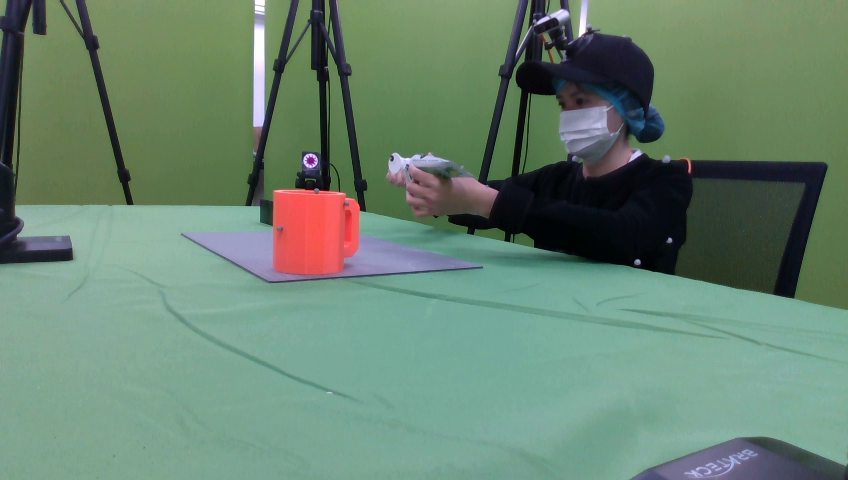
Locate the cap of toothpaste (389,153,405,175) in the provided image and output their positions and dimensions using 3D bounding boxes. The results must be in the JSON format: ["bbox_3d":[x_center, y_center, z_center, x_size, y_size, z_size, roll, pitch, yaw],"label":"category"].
[{"bbox_3d":[-0.044,-0.128,1.011,0.011,0.037,0.037,-6,11,-41],"label":"cap of toothpaste"}]

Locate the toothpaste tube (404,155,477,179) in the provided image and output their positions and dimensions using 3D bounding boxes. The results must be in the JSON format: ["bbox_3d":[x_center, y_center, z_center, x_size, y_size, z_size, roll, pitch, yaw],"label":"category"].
[{"bbox_3d":[0.017,-0.115,0.945,0.055,0.034,0.164,24,-4,-32],"label":"toothpaste tube"}]

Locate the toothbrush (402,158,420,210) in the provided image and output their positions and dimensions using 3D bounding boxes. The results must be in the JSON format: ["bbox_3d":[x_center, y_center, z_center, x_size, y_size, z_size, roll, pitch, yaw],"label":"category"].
[{"bbox_3d":[-0.022,-0.099,1.099,0.016,0.014,0.182,-9,-25,4],"label":"toothbrush"}]

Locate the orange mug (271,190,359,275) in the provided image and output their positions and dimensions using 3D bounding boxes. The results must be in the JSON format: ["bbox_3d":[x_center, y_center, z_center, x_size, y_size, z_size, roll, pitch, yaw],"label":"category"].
[{"bbox_3d":[-0.131,-0.013,0.754,0.083,0.101,0.127,8,13,38],"label":"orange mug"}]
